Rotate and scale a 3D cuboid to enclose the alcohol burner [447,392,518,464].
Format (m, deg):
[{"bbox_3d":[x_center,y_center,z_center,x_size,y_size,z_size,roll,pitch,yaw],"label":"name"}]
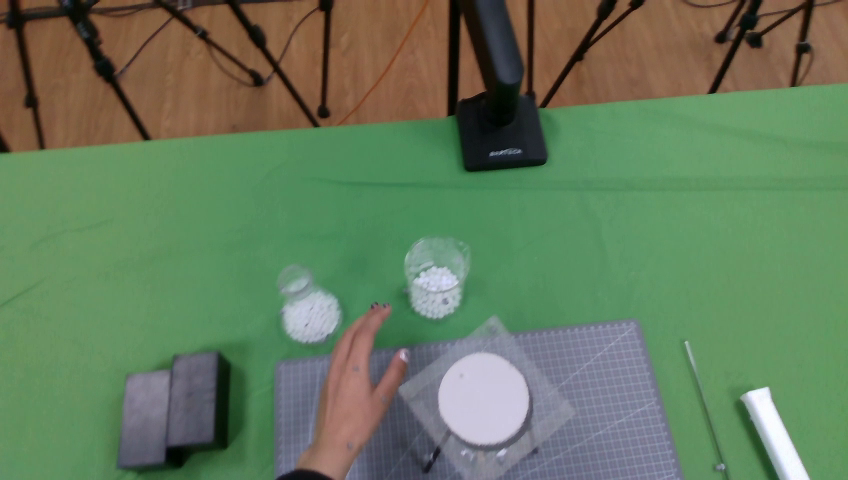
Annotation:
[{"bbox_3d":[0.064,0.196,0.644,0.078,0.120,0.077,1,62,-1],"label":"alcohol burner"}]

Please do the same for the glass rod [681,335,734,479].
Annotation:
[{"bbox_3d":[0.333,0.204,0.705,0.008,0.008,0.198,-6,64,-4],"label":"glass rod"}]

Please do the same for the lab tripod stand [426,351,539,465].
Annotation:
[{"bbox_3d":[0.060,0.182,0.640,0.148,0.132,0.147,0,66,0],"label":"lab tripod stand"}]

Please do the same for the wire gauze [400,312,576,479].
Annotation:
[{"bbox_3d":[0.060,0.148,0.581,0.125,0.011,0.120,-34,70,-14],"label":"wire gauze"}]

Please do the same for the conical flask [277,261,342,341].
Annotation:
[{"bbox_3d":[-0.140,0.066,0.705,0.075,0.123,0.074,0,63,0],"label":"conical flask"}]

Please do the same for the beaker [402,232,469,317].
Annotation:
[{"bbox_3d":[0.015,0.044,0.731,0.084,0.101,0.073,-31,68,-15],"label":"beaker"}]

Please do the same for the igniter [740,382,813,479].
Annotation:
[{"bbox_3d":[0.416,0.290,0.652,0.057,0.025,0.274,-7,64,-16],"label":"igniter"}]
